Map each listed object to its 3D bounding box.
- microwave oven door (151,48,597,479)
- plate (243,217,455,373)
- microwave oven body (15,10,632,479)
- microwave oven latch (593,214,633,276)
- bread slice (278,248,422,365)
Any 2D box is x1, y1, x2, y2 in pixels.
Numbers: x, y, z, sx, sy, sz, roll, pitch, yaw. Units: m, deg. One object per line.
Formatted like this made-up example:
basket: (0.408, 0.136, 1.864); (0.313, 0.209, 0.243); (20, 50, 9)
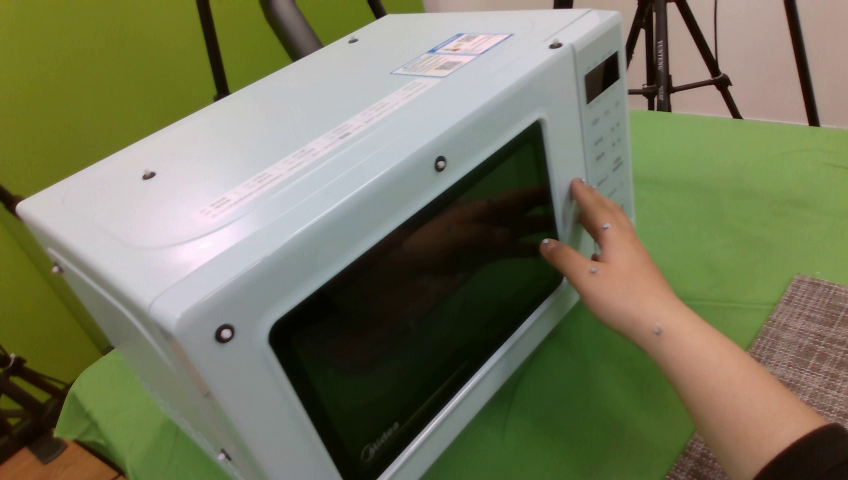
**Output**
microwave oven door: (0.013, 0.039, 0.455); (0.039, 0.246, 0.355); (18, 46, 42)
plate: (-0.068, 0.051, 0.581); (0.209, 0.038, 0.207); (-13, 33, 9)
microwave oven body: (-0.061, -0.011, 0.577); (0.323, 0.263, 0.441); (18, 47, 42)
microwave oven latch: (0.186, 0.003, 0.622); (0.030, 0.030, 0.079); (20, 48, 43)
bread slice: (-0.069, 0.054, 0.587); (0.131, 0.019, 0.104); (-35, 37, -21)
